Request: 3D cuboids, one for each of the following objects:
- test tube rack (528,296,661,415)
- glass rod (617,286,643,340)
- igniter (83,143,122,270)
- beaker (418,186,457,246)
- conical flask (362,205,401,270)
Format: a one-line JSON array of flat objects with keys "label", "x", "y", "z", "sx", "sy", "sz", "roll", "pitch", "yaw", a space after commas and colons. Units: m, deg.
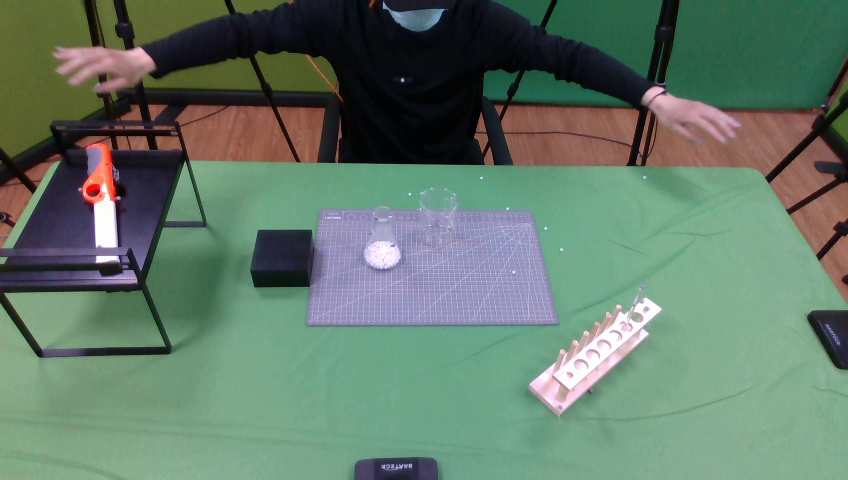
[{"label": "test tube rack", "x": 0.285, "y": 0.178, "z": 1.005, "sx": 0.242, "sy": 0.085, "sz": 0.066, "roll": -31, "pitch": 55, "yaw": -29}, {"label": "glass rod", "x": 0.324, "y": 0.128, "z": 0.964, "sx": 0.008, "sy": 0.201, "sz": 0.008, "roll": -2, "pitch": 54, "yaw": 3}, {"label": "igniter", "x": -0.509, "y": -0.063, "z": 0.962, "sx": 0.057, "sy": 0.025, "sz": 0.274, "roll": -14, "pitch": 53, "yaw": -18}, {"label": "beaker", "x": 0.026, "y": -0.042, "z": 1.183, "sx": 0.074, "sy": 0.101, "sz": 0.083, "roll": -19, "pitch": 51, "yaw": -20}, {"label": "conical flask", "x": -0.078, "y": -0.008, "z": 1.127, "sx": 0.075, "sy": 0.122, "sz": 0.075, "roll": 2, "pitch": 46, "yaw": -2}]
